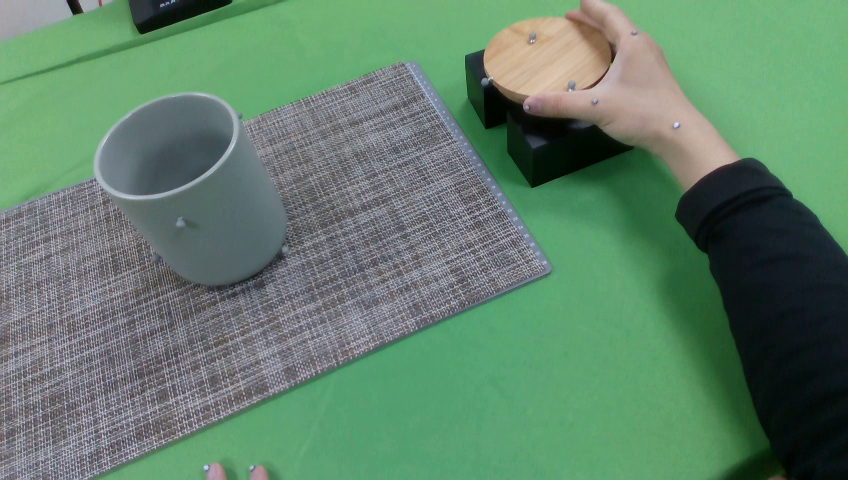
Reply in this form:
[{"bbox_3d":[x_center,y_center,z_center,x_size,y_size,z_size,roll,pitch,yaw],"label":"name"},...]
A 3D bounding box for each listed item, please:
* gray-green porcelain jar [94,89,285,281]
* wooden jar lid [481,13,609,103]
[{"bbox_3d":[-0.173,-0.036,0.477,0.106,0.128,0.105,-4,55,6],"label":"gray-green porcelain jar"},{"bbox_3d":[0.104,-0.158,0.526,0.108,0.021,0.107,-4,56,6],"label":"wooden jar lid"}]
